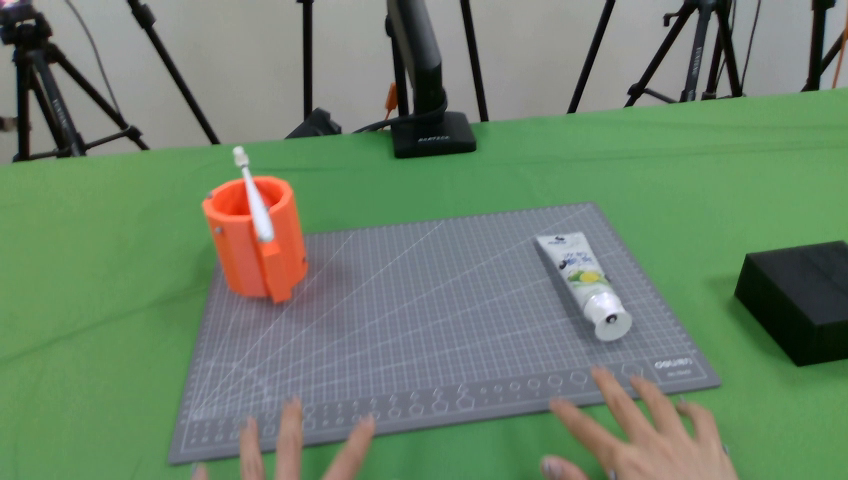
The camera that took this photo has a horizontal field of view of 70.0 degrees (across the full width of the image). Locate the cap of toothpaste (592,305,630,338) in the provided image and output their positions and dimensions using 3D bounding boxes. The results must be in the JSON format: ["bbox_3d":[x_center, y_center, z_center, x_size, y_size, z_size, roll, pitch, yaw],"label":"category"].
[{"bbox_3d":[0.166,0.072,0.541,0.037,0.037,0.011,-11,37,-10],"label":"cap of toothpaste"}]

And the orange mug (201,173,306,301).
[{"bbox_3d":[-0.166,0.001,0.612,0.083,0.101,0.125,-18,34,-19],"label":"orange mug"}]

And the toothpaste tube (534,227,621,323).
[{"bbox_3d":[0.159,0.030,0.609,0.055,0.035,0.163,-1,32,-7],"label":"toothpaste tube"}]

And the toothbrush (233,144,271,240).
[{"bbox_3d":[-0.171,-0.052,0.596,0.014,0.017,0.179,-12,37,-18],"label":"toothbrush"}]
